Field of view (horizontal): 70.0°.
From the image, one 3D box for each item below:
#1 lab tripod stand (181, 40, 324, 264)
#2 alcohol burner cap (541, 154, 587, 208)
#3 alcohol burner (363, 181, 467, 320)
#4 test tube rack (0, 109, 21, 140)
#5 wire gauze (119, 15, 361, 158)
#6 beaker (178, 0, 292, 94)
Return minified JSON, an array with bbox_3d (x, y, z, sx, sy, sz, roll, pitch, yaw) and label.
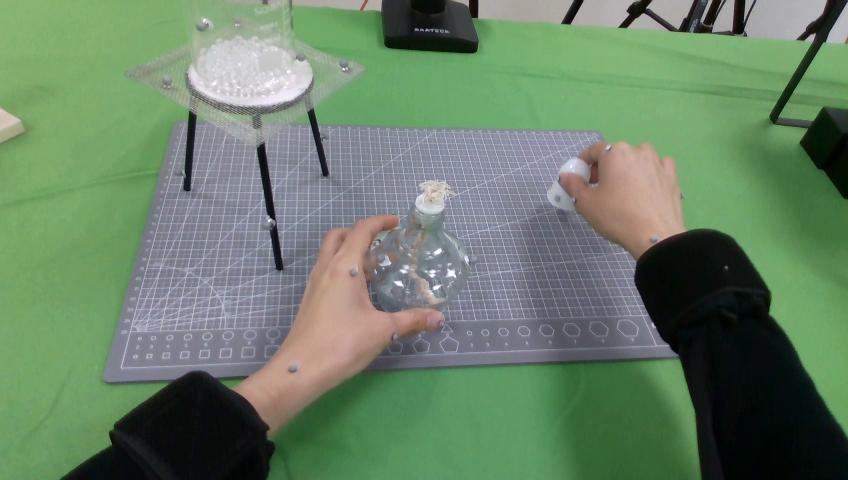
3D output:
[{"bbox_3d":[-0.133,-0.075,0.482,0.148,0.132,0.147,6,46,-6],"label":"lab tripod stand"},{"bbox_3d":[0.129,-0.056,0.550,0.034,0.048,0.033,9,47,-10],"label":"alcohol burner cap"},{"bbox_3d":[-0.004,0.003,0.441,0.078,0.120,0.077,6,45,-6],"label":"alcohol burner"},{"bbox_3d":[-0.462,-0.079,0.469,0.066,0.086,0.241,28,48,17],"label":"test tube rack"},{"bbox_3d":[-0.127,-0.120,0.435,0.124,0.011,0.121,31,52,14],"label":"wire gauze"},{"bbox_3d":[-0.126,-0.155,0.400,0.073,0.101,0.084,29,50,18],"label":"beaker"}]
